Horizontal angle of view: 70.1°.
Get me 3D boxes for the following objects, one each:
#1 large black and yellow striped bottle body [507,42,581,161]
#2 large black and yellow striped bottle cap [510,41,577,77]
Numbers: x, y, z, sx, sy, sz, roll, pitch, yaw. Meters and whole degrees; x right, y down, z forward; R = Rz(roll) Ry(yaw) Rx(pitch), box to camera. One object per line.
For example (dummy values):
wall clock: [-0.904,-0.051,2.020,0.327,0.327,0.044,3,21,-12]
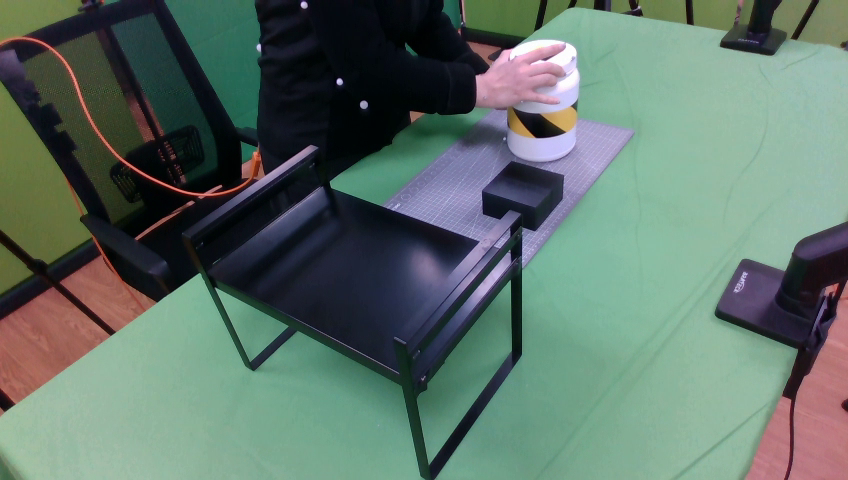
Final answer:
large black and yellow striped bottle body: [0.219,-0.254,1.109,0.131,0.185,0.130,-5,41,4]
large black and yellow striped bottle cap: [0.208,-0.317,1.055,0.115,0.019,0.114,-4,39,3]
